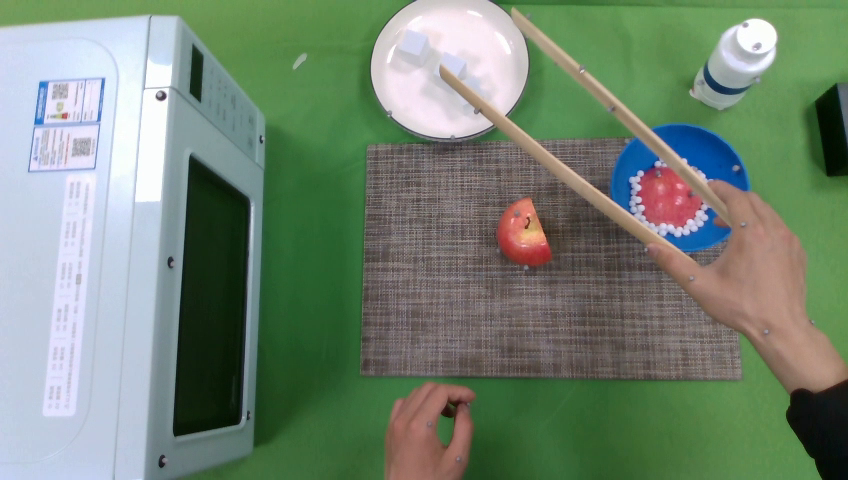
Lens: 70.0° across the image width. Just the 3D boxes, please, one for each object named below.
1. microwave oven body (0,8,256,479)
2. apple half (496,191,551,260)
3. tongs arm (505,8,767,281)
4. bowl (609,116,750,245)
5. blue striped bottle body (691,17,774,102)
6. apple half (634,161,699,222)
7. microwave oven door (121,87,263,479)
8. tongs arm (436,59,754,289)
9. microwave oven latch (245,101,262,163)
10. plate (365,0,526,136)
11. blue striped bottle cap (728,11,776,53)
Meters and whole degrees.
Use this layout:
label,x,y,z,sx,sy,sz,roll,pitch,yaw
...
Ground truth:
label,x,y,z,sx,sy,sz,roll,pitch,yaw
microwave oven body,-0.378,0.021,0.666,0.326,0.261,0.439,-3,79,4
apple half,0.113,-0.011,0.723,0.053,0.075,0.080,-20,81,4
tongs arm,0.191,-0.111,0.609,0.051,0.027,0.381,-37,66,-8
bowl,0.288,-0.061,0.713,0.151,0.077,0.150,-1,79,6
blue striped bottle body,0.368,-0.218,0.719,0.063,0.121,0.063,-1,78,6
apple half,0.288,-0.060,0.708,0.081,0.033,0.081,-1,76,5
microwave oven door,-0.232,0.054,0.641,0.039,0.245,0.354,-3,78,5
tongs arm,0.147,-0.076,0.603,0.028,0.028,0.384,-41,66,-14
microwave oven latch,-0.225,-0.139,0.783,0.030,0.029,0.079,-2,79,4
plate,0.028,-0.231,0.796,0.207,0.039,0.206,-1,79,5
blue striped bottle cap,0.363,-0.229,0.669,0.044,0.021,0.044,-1,81,5
